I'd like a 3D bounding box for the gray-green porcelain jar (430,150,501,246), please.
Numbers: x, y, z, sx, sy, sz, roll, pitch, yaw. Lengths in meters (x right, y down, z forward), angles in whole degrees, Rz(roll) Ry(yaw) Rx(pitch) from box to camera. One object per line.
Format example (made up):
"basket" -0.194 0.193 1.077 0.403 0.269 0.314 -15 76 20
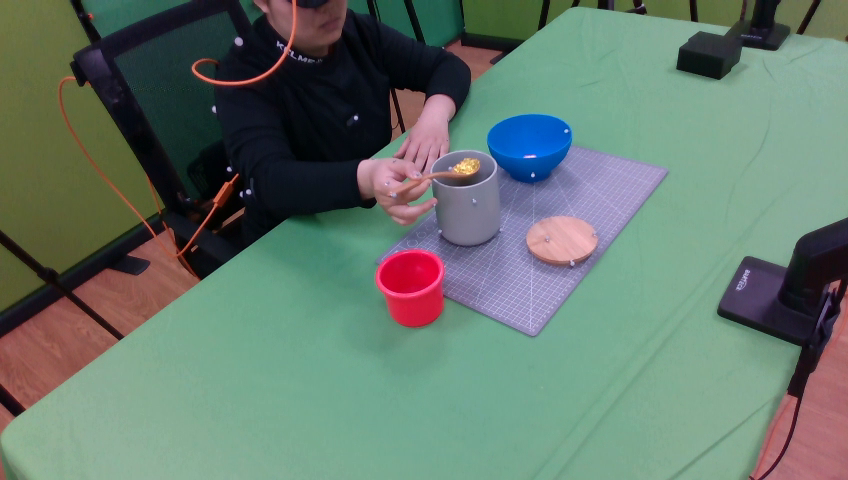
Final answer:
"gray-green porcelain jar" 0.069 -0.062 0.959 0.106 0.127 0.105 -5 40 5

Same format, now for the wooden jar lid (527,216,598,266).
"wooden jar lid" 0.214 0.003 0.937 0.108 0.021 0.108 -4 40 4

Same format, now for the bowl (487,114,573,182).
"bowl" 0.190 -0.156 1.085 0.151 0.077 0.150 -5 40 5

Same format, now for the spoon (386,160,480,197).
"spoon" 0.014 -0.090 0.866 0.041 0.021 0.195 23 29 36
